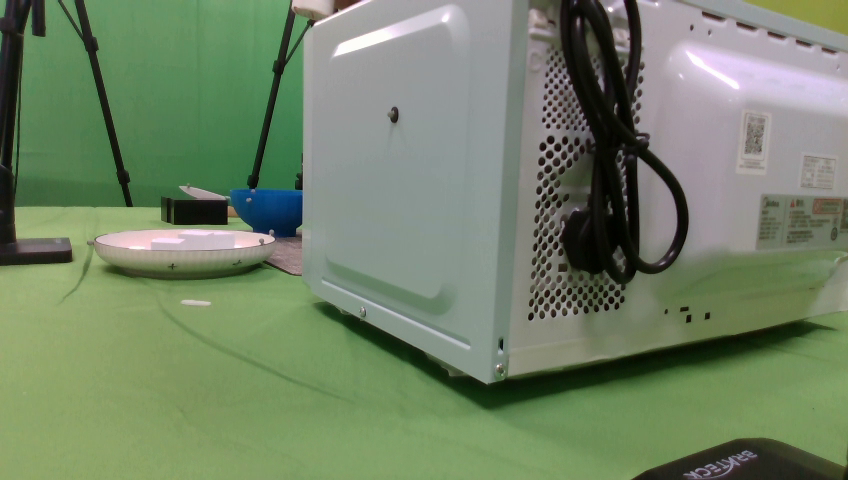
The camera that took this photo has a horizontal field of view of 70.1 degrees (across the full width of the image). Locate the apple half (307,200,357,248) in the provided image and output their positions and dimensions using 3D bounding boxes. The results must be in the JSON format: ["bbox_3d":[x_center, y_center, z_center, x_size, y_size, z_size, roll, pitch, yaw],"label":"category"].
[{"bbox_3d":[-0.135,-0.024,0.942,0.053,0.074,0.081,13,8,38],"label":"apple half"}]

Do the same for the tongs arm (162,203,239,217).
[{"bbox_3d":[-0.396,-0.066,1.399,0.389,0.028,0.028,1,5,-15],"label":"tongs arm"}]

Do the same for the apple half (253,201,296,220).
[{"bbox_3d":[-0.264,-0.053,1.067,0.081,0.033,0.081,1,8,0],"label":"apple half"}]

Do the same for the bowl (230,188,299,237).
[{"bbox_3d":[-0.264,-0.048,1.066,0.151,0.077,0.151,3,8,0],"label":"bowl"}]

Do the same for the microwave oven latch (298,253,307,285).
[{"bbox_3d":[-0.082,0.027,0.583,0.079,0.029,0.030,-2,8,-34],"label":"microwave oven latch"}]

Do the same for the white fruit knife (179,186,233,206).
[{"bbox_3d":[-0.413,-0.081,1.270,0.208,0.027,0.016,18,14,-41],"label":"white fruit knife"}]

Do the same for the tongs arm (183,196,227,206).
[{"bbox_3d":[-0.404,-0.081,1.479,0.385,0.026,0.050,4,8,-2],"label":"tongs arm"}]

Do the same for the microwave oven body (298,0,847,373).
[{"bbox_3d":[0.151,-0.055,0.542,0.444,0.260,0.324,-2,7,-33],"label":"microwave oven body"}]

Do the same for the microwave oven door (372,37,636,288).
[{"bbox_3d":[0.110,-0.080,0.686,0.358,0.243,0.039,-2,9,-33],"label":"microwave oven door"}]

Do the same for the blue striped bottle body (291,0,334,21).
[{"bbox_3d":[-0.162,-0.402,0.924,0.063,0.120,0.063,11,5,-1],"label":"blue striped bottle body"}]

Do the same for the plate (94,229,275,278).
[{"bbox_3d":[-0.291,0.016,0.750,0.208,0.039,0.207,2,7,0],"label":"plate"}]
